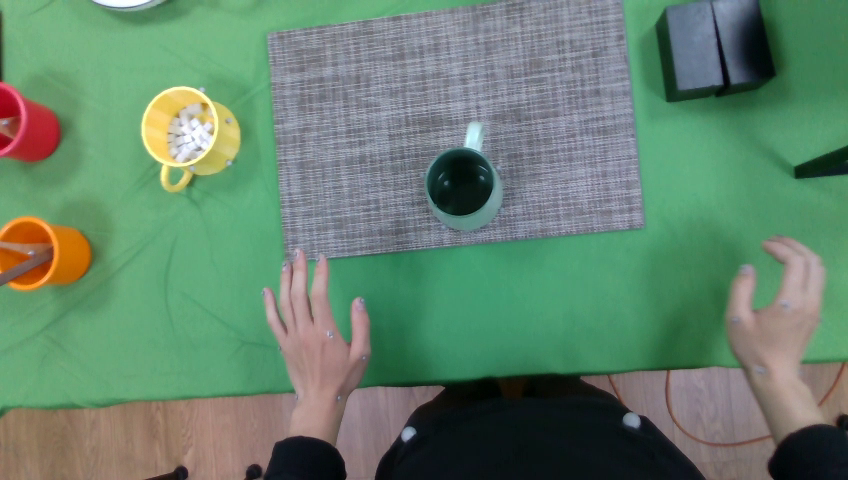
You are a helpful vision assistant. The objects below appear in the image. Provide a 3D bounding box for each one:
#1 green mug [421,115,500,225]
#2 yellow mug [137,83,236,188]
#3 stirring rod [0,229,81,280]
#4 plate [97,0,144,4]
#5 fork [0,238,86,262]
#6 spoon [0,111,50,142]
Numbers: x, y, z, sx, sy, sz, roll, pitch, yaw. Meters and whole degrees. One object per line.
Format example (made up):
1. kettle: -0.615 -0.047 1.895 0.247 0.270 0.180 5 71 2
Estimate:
1. green mug: 0.045 -0.083 0.704 0.092 0.105 0.125 11 89 8
2. yellow mug: -0.305 -0.127 0.769 0.100 0.064 0.131 20 91 6
3. stirring rod: -0.511 0.035 0.751 0.014 0.006 0.176 45 51 5
4. plate: -0.394 -0.411 0.803 0.207 0.039 0.207 0 88 7
5. fork: -0.536 0.000 0.749 0.209 0.018 0.028 14 85 -36
6. spoon: -0.586 -0.155 0.763 0.195 0.021 0.041 4 86 -37
